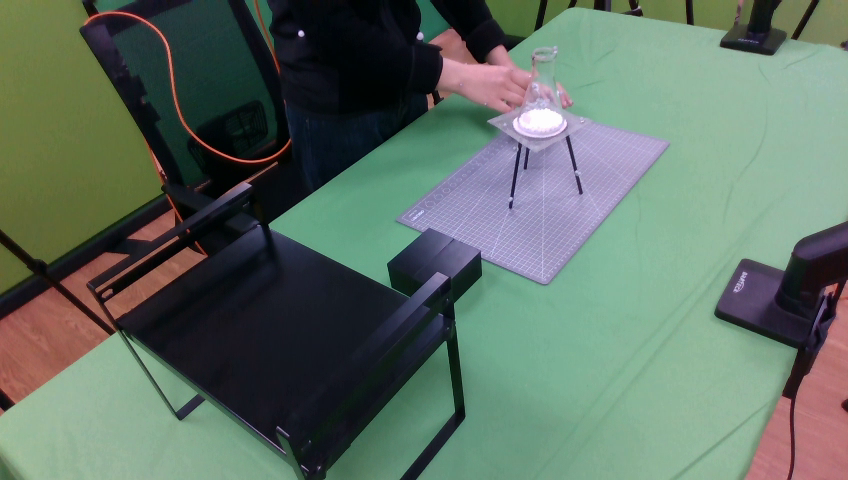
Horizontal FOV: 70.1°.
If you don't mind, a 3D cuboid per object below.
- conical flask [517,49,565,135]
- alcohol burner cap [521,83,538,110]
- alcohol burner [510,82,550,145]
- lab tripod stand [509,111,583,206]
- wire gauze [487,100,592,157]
[{"bbox_3d":[0.183,-0.231,0.936,0.075,0.122,0.075,-4,40,4],"label":"conical flask"},{"bbox_3d":[0.199,-0.273,1.136,0.034,0.048,0.033,-5,45,5],"label":"alcohol burner cap"},{"bbox_3d":[0.202,-0.245,1.160,0.078,0.119,0.077,-6,39,6],"label":"alcohol burner"},{"bbox_3d":[0.198,-0.139,1.019,0.148,0.132,0.147,-3,39,3],"label":"lab tripod stand"},{"bbox_3d":[0.185,-0.187,0.974,0.122,0.011,0.124,-28,47,-22],"label":"wire gauze"}]
